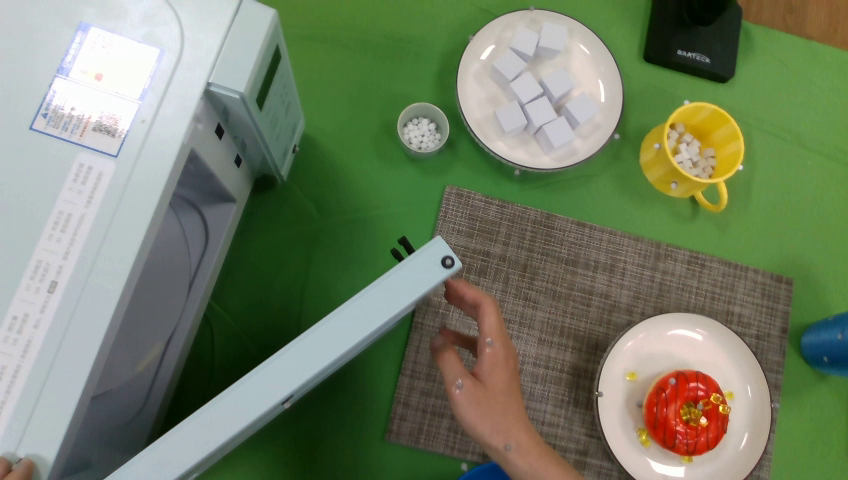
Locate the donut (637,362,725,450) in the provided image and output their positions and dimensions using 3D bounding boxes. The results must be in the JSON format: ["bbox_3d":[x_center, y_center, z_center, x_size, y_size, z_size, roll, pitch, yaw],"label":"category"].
[{"bbox_3d":[0.288,0.186,0.683,0.099,0.048,0.099,1,83,-4],"label":"donut"}]

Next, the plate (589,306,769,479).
[{"bbox_3d":[0.287,0.179,0.695,0.209,0.038,0.208,1,81,-6],"label":"plate"}]

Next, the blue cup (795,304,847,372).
[{"bbox_3d":[0.491,0.114,0.701,0.093,0.100,0.092,2,79,-7],"label":"blue cup"}]

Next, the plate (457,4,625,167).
[{"bbox_3d":[0.141,-0.187,0.746,0.208,0.039,0.207,1,80,-6],"label":"plate"}]

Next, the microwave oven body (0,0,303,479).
[{"bbox_3d":[-0.343,-0.017,0.547,0.326,0.260,0.440,18,80,-3],"label":"microwave oven body"}]

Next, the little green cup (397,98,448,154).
[{"bbox_3d":[-0.004,-0.132,0.719,0.062,0.038,0.061,1,81,-7],"label":"little green cup"}]

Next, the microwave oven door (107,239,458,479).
[{"bbox_3d":[-0.132,0.127,0.541,0.356,0.244,0.039,-36,84,-11],"label":"microwave oven door"}]

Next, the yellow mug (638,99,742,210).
[{"bbox_3d":[0.329,-0.098,0.738,0.100,0.064,0.130,-22,84,-10],"label":"yellow mug"}]

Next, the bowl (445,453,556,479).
[{"bbox_3d":[0.074,0.296,0.636,0.151,0.077,0.151,1,80,-6],"label":"bowl"}]

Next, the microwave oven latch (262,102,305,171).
[{"bbox_3d":[-0.159,-0.120,0.683,0.030,0.029,0.079,21,79,-3],"label":"microwave oven latch"}]
